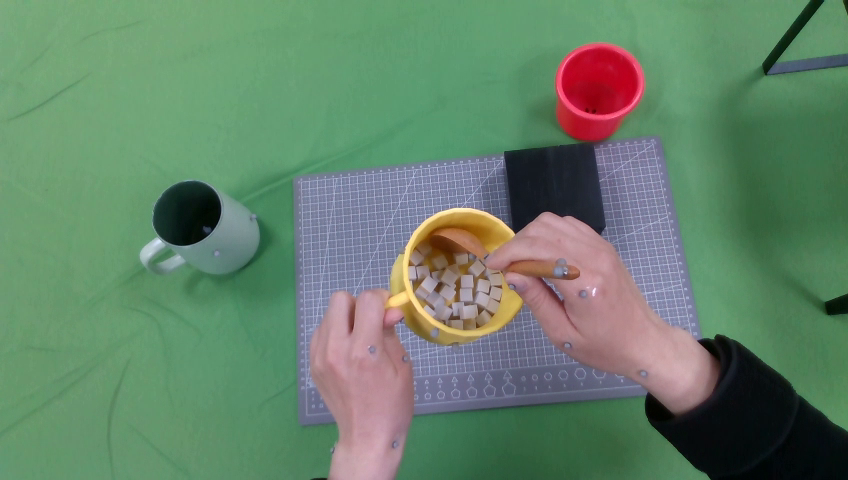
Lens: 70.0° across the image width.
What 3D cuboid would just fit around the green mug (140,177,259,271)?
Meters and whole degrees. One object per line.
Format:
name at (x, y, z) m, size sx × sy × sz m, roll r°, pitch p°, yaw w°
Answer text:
green mug at (-0.260, -0.007, 0.691) m, size 0.125 × 0.105 × 0.092 m, roll -37°, pitch 75°, yaw -6°

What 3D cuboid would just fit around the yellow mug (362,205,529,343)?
yellow mug at (0.012, 0.035, 0.477) m, size 0.131 × 0.064 × 0.099 m, roll -23°, pitch 82°, yaw -16°

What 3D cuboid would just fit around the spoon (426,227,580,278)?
spoon at (0.048, 0.010, 0.416) m, size 0.042 × 0.192 × 0.021 m, roll 21°, pitch 91°, yaw -22°
